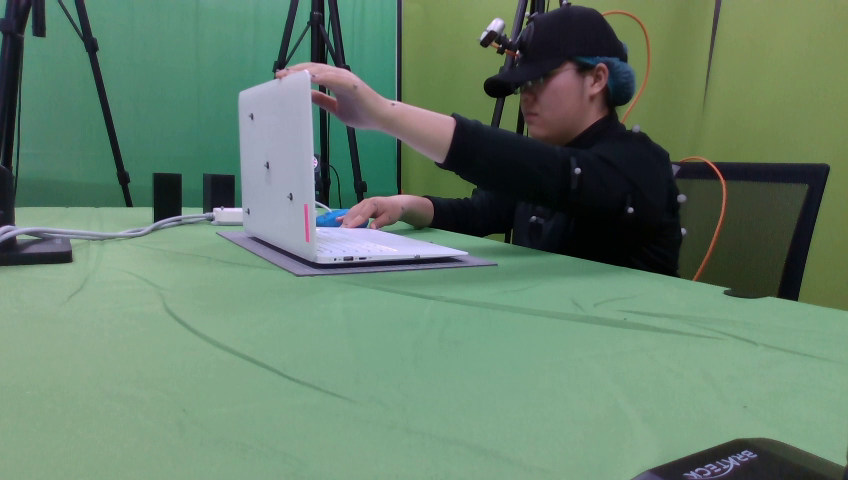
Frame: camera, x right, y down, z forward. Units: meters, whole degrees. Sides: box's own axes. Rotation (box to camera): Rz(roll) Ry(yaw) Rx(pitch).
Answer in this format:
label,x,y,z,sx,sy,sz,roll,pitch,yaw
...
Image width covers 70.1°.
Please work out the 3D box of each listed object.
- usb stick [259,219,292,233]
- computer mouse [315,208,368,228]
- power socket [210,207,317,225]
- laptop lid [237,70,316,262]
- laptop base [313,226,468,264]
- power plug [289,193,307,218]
label,x,y,z,sx,sy,sz,roll,pitch,yaw
usb stick,-0.272,-0.026,1.108,0.059,0.027,0.021,-4,10,-27
computer mouse,-0.179,-0.045,1.275,0.118,0.041,0.062,-7,13,-29
power socket,-0.334,-0.051,1.282,0.228,0.032,0.072,-1,9,-27
laptop lid,-0.223,-0.109,0.875,0.013,0.241,0.355,-5,11,-30
laptop base,-0.122,0.006,0.954,0.237,0.023,0.352,2,6,-31
power plug,-0.281,-0.076,1.340,0.035,0.052,0.072,3,6,-18
